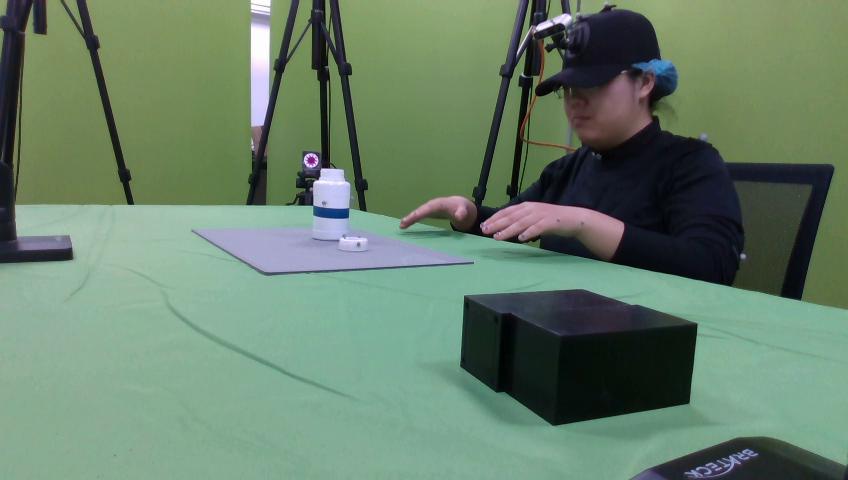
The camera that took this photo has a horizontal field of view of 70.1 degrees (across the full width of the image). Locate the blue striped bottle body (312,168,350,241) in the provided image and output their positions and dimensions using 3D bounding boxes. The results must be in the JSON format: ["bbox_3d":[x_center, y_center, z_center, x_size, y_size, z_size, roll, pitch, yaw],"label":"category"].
[{"bbox_3d":[-0.157,-0.062,1.025,0.063,0.120,0.063,3,7,0],"label":"blue striped bottle body"}]

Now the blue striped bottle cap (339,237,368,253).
[{"bbox_3d":[-0.107,0.007,0.920,0.044,0.020,0.044,1,7,0],"label":"blue striped bottle cap"}]
